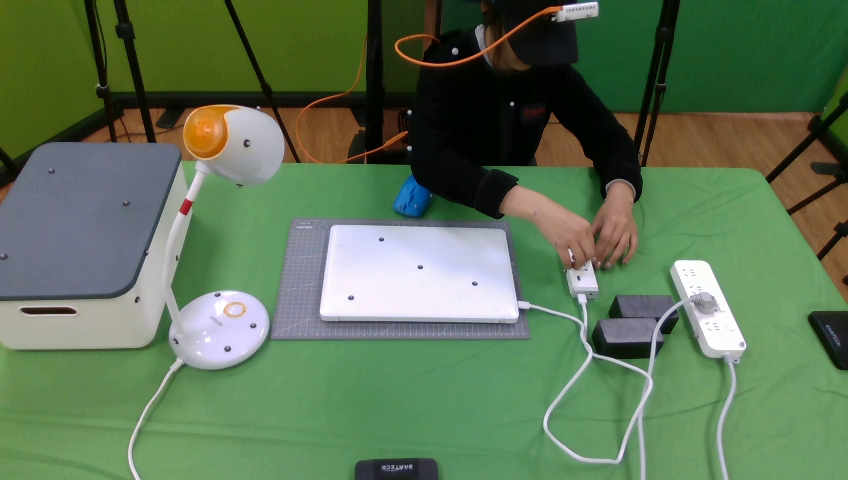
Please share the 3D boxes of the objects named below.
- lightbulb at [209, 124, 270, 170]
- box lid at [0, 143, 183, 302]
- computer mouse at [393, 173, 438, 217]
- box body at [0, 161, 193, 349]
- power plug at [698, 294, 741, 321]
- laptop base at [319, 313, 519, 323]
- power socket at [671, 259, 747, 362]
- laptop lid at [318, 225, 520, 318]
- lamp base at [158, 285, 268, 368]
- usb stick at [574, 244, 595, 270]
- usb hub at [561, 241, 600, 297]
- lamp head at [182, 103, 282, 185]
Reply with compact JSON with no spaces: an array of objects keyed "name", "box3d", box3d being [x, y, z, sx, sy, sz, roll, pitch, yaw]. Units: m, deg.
[{"name":"lightbulb","box3d":[-0.260,-0.135,0.847,0.059,0.108,0.059,-4,79,19]},{"name":"box lid","box3d":[-0.567,-0.045,0.999,0.263,0.015,0.369,-1,46,-4]},{"name":"computer mouse","box3d":[-0.018,-0.098,1.282,0.062,0.041,0.117,20,52,13]},{"name":"box body","box3d":[-0.570,0.006,1.054,0.254,0.161,0.361,-1,46,-4]},{"name":"power plug","box3d":[0.515,0.127,1.070,0.035,0.053,0.072,-18,56,-7]},{"name":"laptop base","box3d":[-0.009,0.063,1.137,0.354,0.023,0.234,1,43,-3]},{"name":"power socket","box3d":[0.517,0.119,1.108,0.072,0.033,0.225,0,46,-2]},{"name":"laptop lid","box3d":[-0.009,0.052,1.131,0.357,0.013,0.240,2,44,-2]},{"name":"lamp base","box3d":[-0.348,0.102,0.963,0.160,0.181,0.178,23,51,18]},{"name":"usb stick","box3d":[0.298,0.036,1.132,0.027,0.059,0.021,4,42,-5]},{"name":"usb hub","box3d":[0.300,0.055,1.162,0.049,0.025,0.124,3,46,-3]},{"name":"lamp head","box3d":[-0.271,-0.133,0.825,0.112,0.112,0.123,20,8,15]}]
